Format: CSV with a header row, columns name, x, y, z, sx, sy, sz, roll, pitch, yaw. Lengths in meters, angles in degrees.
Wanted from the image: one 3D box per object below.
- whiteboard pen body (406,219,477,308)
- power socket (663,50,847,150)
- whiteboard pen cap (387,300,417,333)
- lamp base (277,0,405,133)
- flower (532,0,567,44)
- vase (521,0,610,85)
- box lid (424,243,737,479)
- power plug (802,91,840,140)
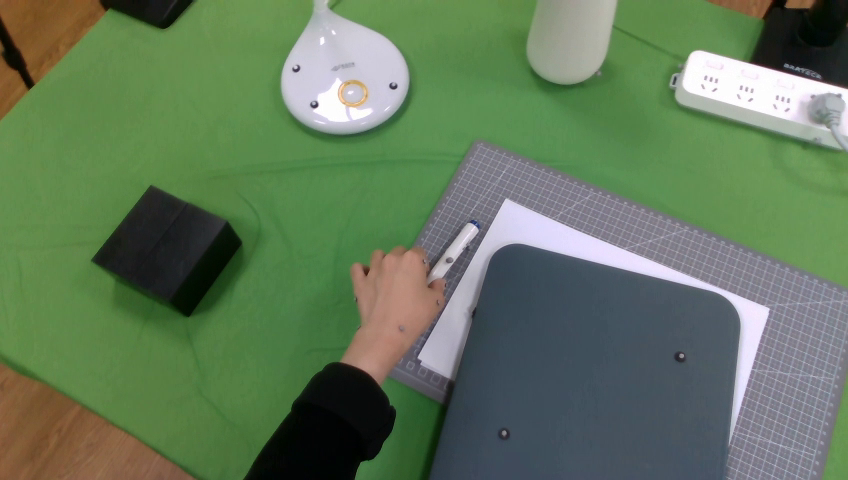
name,x,y,z,sx,sy,sz,roll,pitch,yaw
whiteboard pen body,0.012,0.034,0.644,0.017,0.017,0.140,33,72,16
power socket,0.405,-0.169,0.725,0.226,0.033,0.072,19,68,10
whiteboard pen cap,-0.022,0.079,0.627,0.018,0.018,0.033,31,70,16
lamp base,-0.113,-0.244,0.695,0.161,0.182,0.177,-27,64,-11
flower,0.177,-0.292,0.608,0.044,0.362,0.038,-15,82,-14
vase,0.166,-0.271,0.689,0.098,0.201,0.097,-1,63,3
box lid,0.148,0.187,0.576,0.263,0.015,0.369,14,67,8
power plug,0.440,-0.137,0.684,0.035,0.053,0.072,29,75,15
